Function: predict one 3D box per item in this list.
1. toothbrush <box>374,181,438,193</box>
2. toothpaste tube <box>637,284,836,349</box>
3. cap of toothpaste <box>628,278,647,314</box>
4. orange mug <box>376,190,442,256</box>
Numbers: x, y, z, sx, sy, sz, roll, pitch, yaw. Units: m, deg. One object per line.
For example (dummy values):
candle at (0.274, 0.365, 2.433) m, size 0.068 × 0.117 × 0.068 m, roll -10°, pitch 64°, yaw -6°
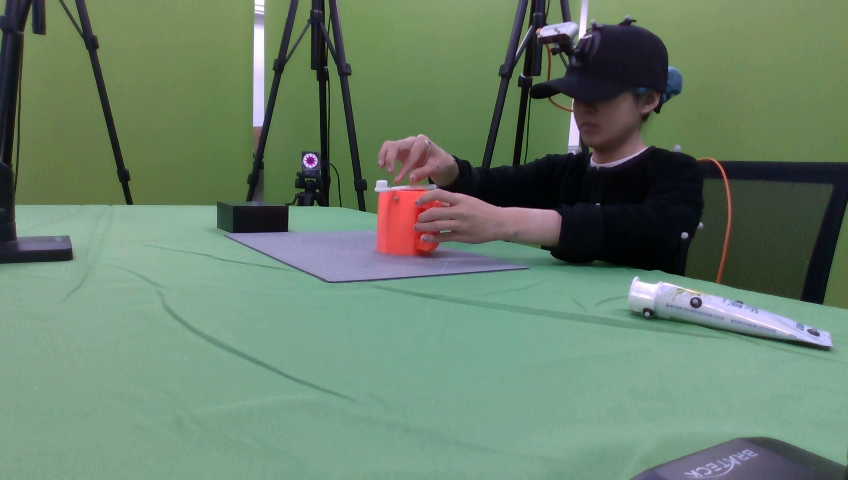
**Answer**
toothbrush at (-0.023, -0.081, 0.917) m, size 0.014 × 0.016 × 0.182 m, roll 4°, pitch 7°, yaw 27°
toothpaste tube at (0.275, 0.070, 0.550) m, size 0.164 × 0.034 × 0.055 m, roll 11°, pitch 15°, yaw 28°
cap of toothpaste at (0.209, 0.055, 0.589) m, size 0.011 × 0.037 × 0.037 m, roll 11°, pitch 11°, yaw 28°
orange mug at (-0.018, -0.028, 0.913) m, size 0.084 × 0.100 × 0.125 m, roll -2°, pitch 4°, yaw -38°
